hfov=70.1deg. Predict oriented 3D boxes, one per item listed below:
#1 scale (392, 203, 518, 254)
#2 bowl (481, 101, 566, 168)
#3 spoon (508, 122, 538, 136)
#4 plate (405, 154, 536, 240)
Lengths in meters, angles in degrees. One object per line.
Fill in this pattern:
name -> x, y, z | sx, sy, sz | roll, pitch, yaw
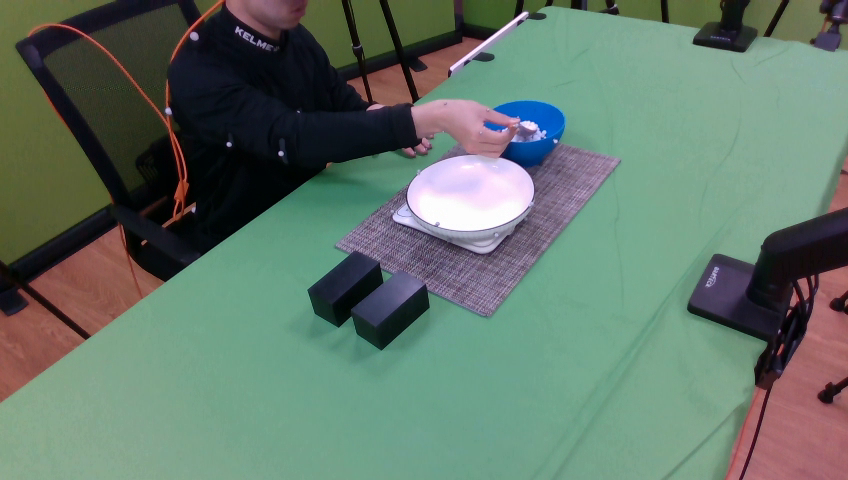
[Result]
scale -> 0.060, -0.050, 1.006 | 0.199, 0.032, 0.149 | 22, 48, 30
bowl -> 0.183, -0.186, 1.111 | 0.151, 0.077, 0.150 | -4, 41, 4
spoon -> 0.164, -0.193, 1.039 | 0.041, 0.021, 0.194 | 0, 5, 19
plate -> 0.075, -0.067, 0.973 | 0.209, 0.038, 0.208 | -4, 41, 4
